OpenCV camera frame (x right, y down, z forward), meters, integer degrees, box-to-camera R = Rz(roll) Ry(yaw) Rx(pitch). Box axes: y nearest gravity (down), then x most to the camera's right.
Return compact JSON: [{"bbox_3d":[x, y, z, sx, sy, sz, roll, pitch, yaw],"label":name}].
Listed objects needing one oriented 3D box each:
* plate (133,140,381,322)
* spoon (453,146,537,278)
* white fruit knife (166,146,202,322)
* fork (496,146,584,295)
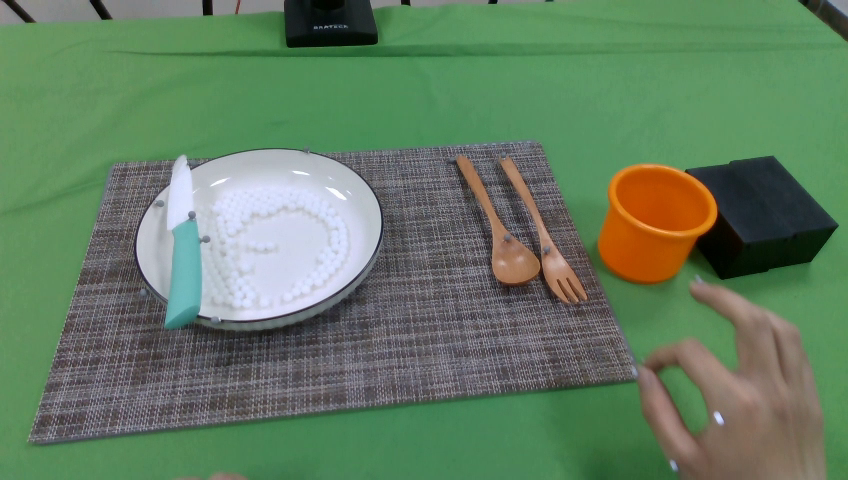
[{"bbox_3d":[-0.141,-0.010,0.536,0.209,0.038,0.207,2,48,-2],"label":"plate"},{"bbox_3d":[0.061,-0.034,0.581,0.041,0.022,0.191,-21,51,1],"label":"spoon"},{"bbox_3d":[-0.203,-0.017,0.509,0.027,0.016,0.205,-13,49,-10],"label":"white fruit knife"},{"bbox_3d":[0.104,-0.026,0.580,0.028,0.019,0.205,-12,51,-6],"label":"fork"}]
